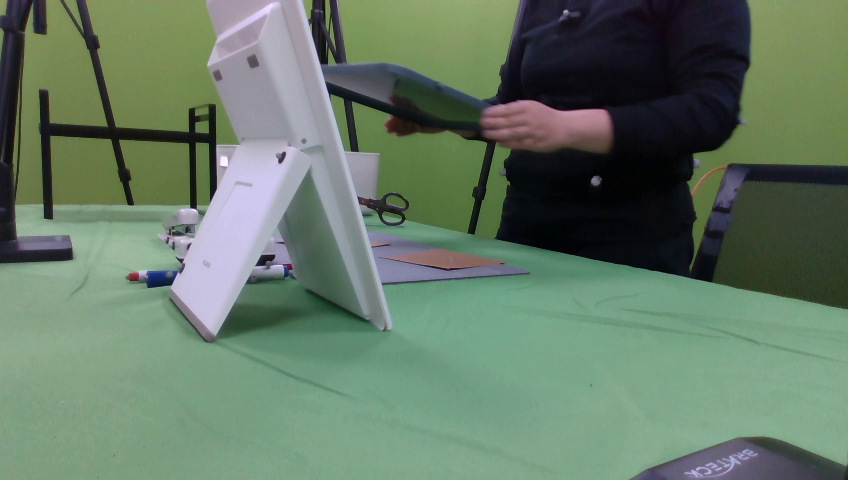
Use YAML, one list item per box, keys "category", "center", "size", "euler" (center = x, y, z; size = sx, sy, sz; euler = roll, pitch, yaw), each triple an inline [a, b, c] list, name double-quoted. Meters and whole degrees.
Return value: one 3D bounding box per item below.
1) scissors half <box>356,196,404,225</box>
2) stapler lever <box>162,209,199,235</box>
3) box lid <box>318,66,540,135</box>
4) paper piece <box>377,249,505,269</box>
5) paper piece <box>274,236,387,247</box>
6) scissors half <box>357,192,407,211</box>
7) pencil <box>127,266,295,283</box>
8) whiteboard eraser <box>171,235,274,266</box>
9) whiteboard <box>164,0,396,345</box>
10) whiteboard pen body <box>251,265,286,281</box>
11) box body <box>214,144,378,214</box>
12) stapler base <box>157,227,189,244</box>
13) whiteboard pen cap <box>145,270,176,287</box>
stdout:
- category: "scissors half"
  center: [-0.127, -0.073, 1.321]
  size: [0.175, 0.040, 0.013]
  euler: [22, 10, -6]
- category: "stapler lever"
  center: [-0.376, -0.031, 0.933]
  size: [0.027, 0.040, 0.117]
  euler: [0, 7, -38]
- category: "box lid"
  center: [-0.012, -0.214, 0.960]
  size: [0.262, 0.015, 0.374]
  euler: [12, 4, 41]
- category: "paper piece"
  center: [0.026, 0.026, 0.865]
  size: [0.134, 0.004, 0.136]
  euler: [10, 10, 43]
- category: "paper piece"
  center: [-0.151, 0.003, 0.978]
  size: [0.135, 0.008, 0.139]
  euler: [13, 10, 35]
- category: "scissors half"
  center: [-0.123, -0.091, 1.315]
  size: [0.175, 0.040, 0.013]
  euler: [6, 17, -3]
- category: "pencil"
  center: [-0.231, 0.037, 0.691]
  size: [0.195, 0.012, 0.012]
  euler: [-2, 9, -34]
- category: "whiteboard eraser"
  center: [-0.248, 0.014, 0.747]
  size: [0.113, 0.042, 0.055]
  euler: [-1, 9, -32]
- category: "whiteboard"
  center: [-0.173, -0.053, 0.511]
  size: [0.144, 0.305, 0.216]
  euler: [-23, 19, -26]
- category: "whiteboard pen body"
  center: [-0.220, 0.039, 0.656]
  size: [0.141, 0.017, 0.017]
  euler: [-2, 9, -30]
- category: "box body"
  center: [-0.328, -0.154, 1.543]
  size: [0.366, 0.160, 0.253]
  euler: [-2, 9, -32]
- category: "stapler base"
  center: [-0.376, -0.008, 0.935]
  size: [0.041, 0.024, 0.130]
  euler: [1, 5, -38]
- category: "whiteboard pen cap"
  center: [-0.271, 0.039, 0.627]
  size: [0.033, 0.018, 0.018]
  euler: [-3, 10, -33]
